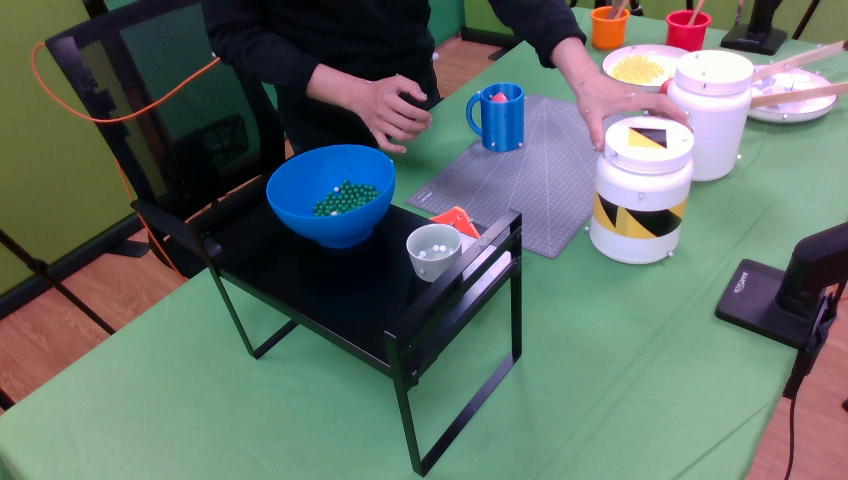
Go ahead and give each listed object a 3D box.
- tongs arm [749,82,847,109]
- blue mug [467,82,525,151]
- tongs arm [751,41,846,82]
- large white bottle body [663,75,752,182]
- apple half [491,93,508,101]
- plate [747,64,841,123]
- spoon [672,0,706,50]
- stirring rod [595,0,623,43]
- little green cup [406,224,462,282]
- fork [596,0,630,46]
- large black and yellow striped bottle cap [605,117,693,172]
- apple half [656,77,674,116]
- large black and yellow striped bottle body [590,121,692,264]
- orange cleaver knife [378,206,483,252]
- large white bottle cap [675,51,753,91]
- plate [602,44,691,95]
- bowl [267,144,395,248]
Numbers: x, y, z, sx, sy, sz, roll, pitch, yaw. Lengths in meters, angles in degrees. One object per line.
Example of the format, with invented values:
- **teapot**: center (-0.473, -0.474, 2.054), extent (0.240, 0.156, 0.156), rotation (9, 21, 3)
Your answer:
- **tongs arm**: center (0.734, -0.281, 1.133), extent (0.388, 0.028, 0.028), rotation (-9, 46, -5)
- **blue mug**: center (0.138, -0.241, 1.169), extent (0.116, 0.106, 0.082), rotation (11, 44, 21)
- **tongs arm**: center (0.708, -0.331, 1.194), extent (0.386, 0.026, 0.050), rotation (-18, 45, -15)
- **large white bottle body**: center (0.472, -0.207, 1.022), extent (0.130, 0.185, 0.130), rotation (-4, 41, 4)
- **apple half**: center (0.141, -0.238, 1.158), extent (0.033, 0.081, 0.080), rotation (-13, 40, -17)
- **plate**: center (0.695, -0.283, 1.189), extent (0.207, 0.039, 0.206), rotation (-4, 40, 4)
- **spoon**: center (0.629, -0.520, 1.394), extent (0.041, 0.022, 0.193), rotation (30, 97, 34)
- **stirring rod**: center (0.460, -0.556, 1.460), extent (0.014, 0.006, 0.176), rotation (30, 94, 23)
- **little green cup**: center (0.012, 0.015, 0.668), extent (0.061, 0.039, 0.061), rotation (-4, 40, 4)
- **fork**: center (0.481, -0.556, 1.452), extent (0.028, 0.019, 0.207), rotation (40, 103, 40)
- **large black and yellow striped bottle cap**: center (0.309, -0.133, 0.833), extent (0.115, 0.019, 0.114), rotation (-6, 40, 5)
- **apple half**: center (0.488, -0.281, 1.192), extent (0.053, 0.075, 0.081), rotation (25, 54, 37)
- **large black and yellow striped bottle body**: center (0.317, -0.071, 0.889), extent (0.131, 0.185, 0.130), rotation (-4, 41, 4)
- **orange cleaver knife**: center (0.005, -0.010, 0.944), extent (0.210, 0.077, 0.012), rotation (-5, 23, 47)
- **large white bottle cap**: center (0.463, -0.271, 0.967), extent (0.115, 0.018, 0.114), rotation (-4, 40, 4)
- **plate**: center (0.495, -0.367, 1.317), extent (0.209, 0.038, 0.208), rotation (-4, 40, 4)
- **bowl**: center (-0.104, -0.043, 0.726), extent (0.151, 0.077, 0.150), rotation (-4, 40, 4)
